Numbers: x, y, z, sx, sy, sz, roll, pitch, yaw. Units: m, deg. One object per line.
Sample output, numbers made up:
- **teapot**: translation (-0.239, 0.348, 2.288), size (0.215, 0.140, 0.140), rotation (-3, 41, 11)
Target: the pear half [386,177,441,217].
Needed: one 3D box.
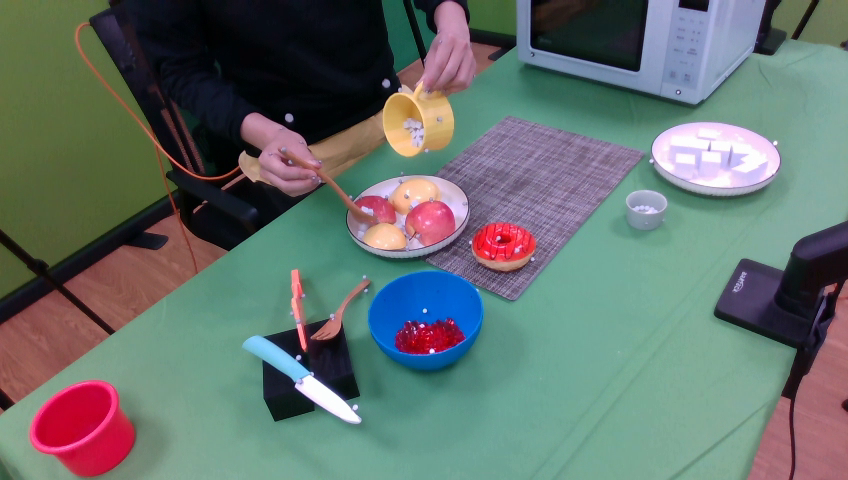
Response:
- **pear half**: translation (-0.030, -0.079, 1.033), size (0.109, 0.056, 0.076), rotation (-1, 36, 15)

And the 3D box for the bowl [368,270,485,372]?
- **bowl**: translation (0.007, 0.118, 0.791), size (0.151, 0.077, 0.150), rotation (-5, 40, 4)

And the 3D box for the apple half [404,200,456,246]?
- **apple half**: translation (0.009, -0.035, 0.969), size (0.075, 0.053, 0.080), rotation (-27, 41, -22)

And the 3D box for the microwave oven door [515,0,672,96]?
- **microwave oven door**: translation (0.344, -0.455, 1.259), size (0.353, 0.245, 0.039), rotation (26, 51, 33)

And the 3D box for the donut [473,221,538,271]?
- **donut**: translation (0.123, 0.008, 0.923), size (0.099, 0.048, 0.098), rotation (-3, 38, 3)

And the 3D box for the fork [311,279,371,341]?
- **fork**: translation (-0.108, 0.092, 0.832), size (0.028, 0.019, 0.207), rotation (-6, 19, 15)

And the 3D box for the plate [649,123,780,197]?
- **plate**: translation (0.497, -0.134, 1.046), size (0.207, 0.039, 0.206), rotation (-4, 40, 4)

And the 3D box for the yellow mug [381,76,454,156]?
- **yellow mug**: translation (-0.007, -0.199, 0.948), size (0.064, 0.131, 0.099), rotation (-23, 56, -42)

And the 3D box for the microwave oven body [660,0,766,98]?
- **microwave oven body**: translation (0.472, -0.513, 1.317), size (0.438, 0.261, 0.327), rotation (26, 51, 34)

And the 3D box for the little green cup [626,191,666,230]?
- **little green cup**: translation (0.352, -0.046, 0.963), size (0.061, 0.039, 0.061), rotation (-4, 40, 4)

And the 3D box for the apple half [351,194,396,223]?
- **apple half**: translation (-0.080, -0.056, 1.008), size (0.081, 0.033, 0.081), rotation (10, 24, -4)

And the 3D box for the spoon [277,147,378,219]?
- **spoon**: translation (-0.136, -0.080, 0.876), size (0.041, 0.195, 0.021), rotation (25, 77, 51)

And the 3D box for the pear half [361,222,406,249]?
- **pear half**: translation (-0.063, -0.013, 0.958), size (0.071, 0.031, 0.087), rotation (5, 24, -27)

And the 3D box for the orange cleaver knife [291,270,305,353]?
- **orange cleaver knife**: translation (-0.175, 0.094, 0.844), size (0.012, 0.077, 0.210), rotation (-11, 14, -10)

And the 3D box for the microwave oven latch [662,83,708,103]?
- **microwave oven latch**: translation (0.517, -0.296, 1.204), size (0.078, 0.029, 0.030), rotation (28, 52, 35)

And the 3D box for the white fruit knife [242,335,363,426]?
- **white fruit knife**: translation (-0.148, 0.167, 0.730), size (0.206, 0.016, 0.027), rotation (26, 80, 31)

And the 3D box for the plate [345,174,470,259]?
- **plate**: translation (-0.026, -0.036, 1.004), size (0.209, 0.038, 0.208), rotation (-4, 40, 4)
